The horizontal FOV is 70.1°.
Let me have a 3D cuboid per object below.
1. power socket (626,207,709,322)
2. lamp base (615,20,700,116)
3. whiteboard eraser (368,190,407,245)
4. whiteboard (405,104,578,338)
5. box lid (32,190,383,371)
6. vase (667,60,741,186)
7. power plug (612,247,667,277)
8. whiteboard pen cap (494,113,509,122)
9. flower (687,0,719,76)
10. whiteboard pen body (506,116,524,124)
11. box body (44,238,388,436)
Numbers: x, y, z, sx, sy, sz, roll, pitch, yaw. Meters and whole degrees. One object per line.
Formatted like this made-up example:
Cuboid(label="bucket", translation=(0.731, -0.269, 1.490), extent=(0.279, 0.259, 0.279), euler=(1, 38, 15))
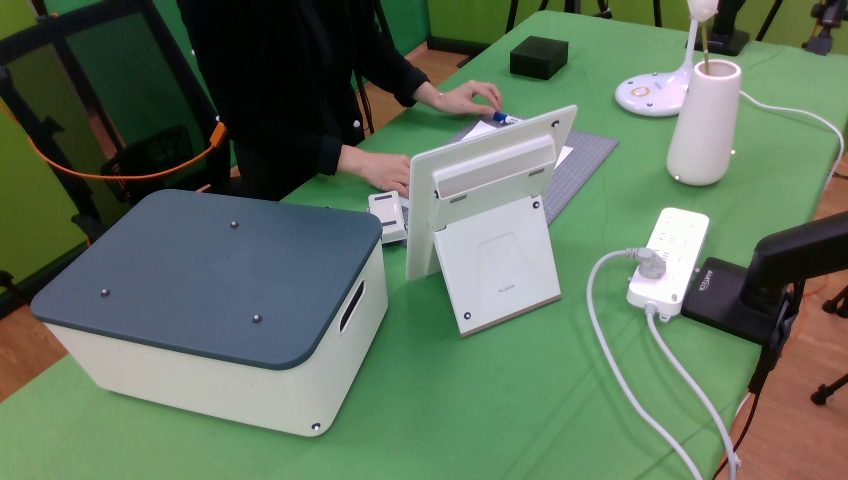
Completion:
Cuboid(label="power socket", translation=(0.360, 0.026, 0.886), extent=(0.072, 0.033, 0.227), euler=(17, 46, 27))
Cuboid(label="lamp base", translation=(0.484, -0.364, 1.211), extent=(0.180, 0.181, 0.159), euler=(-15, 41, -14))
Cuboid(label="whiteboard eraser", translation=(-0.061, -0.035, 1.006), extent=(0.056, 0.042, 0.112), euler=(-9, 40, -4))
Cuboid(label="whiteboard", translation=(0.102, 0.003, 0.787), extent=(0.218, 0.306, 0.143), euler=(-19, 62, -13))
Cuboid(label="box lid", translation=(-0.257, 0.032, 0.750), extent=(0.370, 0.015, 0.263), euler=(7, 41, 16))
Cuboid(label="vase", translation=(0.463, -0.189, 0.994), extent=(0.098, 0.201, 0.097), euler=(-4, 40, 4))
Cuboid(label="power plug", translation=(0.306, 0.031, 0.852), extent=(0.072, 0.053, 0.035), euler=(21, 48, 37))
Cuboid(label="whiteboard pen cap", translation=(0.161, -0.252, 1.248), extent=(0.018, 0.018, 0.033), euler=(-36, 39, -30))
Cuboid(label="flower", translation=(0.436, -0.242, 0.934), extent=(0.038, 0.364, 0.043), euler=(-24, 49, 9))
Cuboid(label="whiteboard pen body", translation=(0.203, -0.232, 1.213), extent=(0.139, 0.017, 0.017), euler=(28, 51, 36))
Cuboid(label="box body", translation=(-0.251, 0.088, 0.799), extent=(0.362, 0.161, 0.254), euler=(7, 42, 16))
